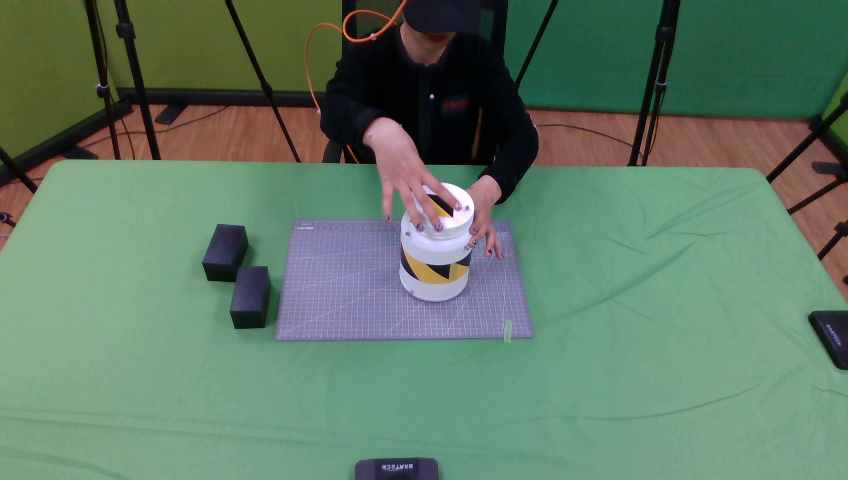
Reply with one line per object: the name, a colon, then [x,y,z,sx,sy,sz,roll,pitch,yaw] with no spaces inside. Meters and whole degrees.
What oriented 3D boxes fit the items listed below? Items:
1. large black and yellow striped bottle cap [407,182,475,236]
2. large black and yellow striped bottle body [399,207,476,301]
large black and yellow striped bottle cap: [0.028,-0.054,1.013,0.115,0.019,0.114,2,47,-1]
large black and yellow striped bottle body: [0.022,0.006,1.076,0.131,0.185,0.130,2,46,-2]
